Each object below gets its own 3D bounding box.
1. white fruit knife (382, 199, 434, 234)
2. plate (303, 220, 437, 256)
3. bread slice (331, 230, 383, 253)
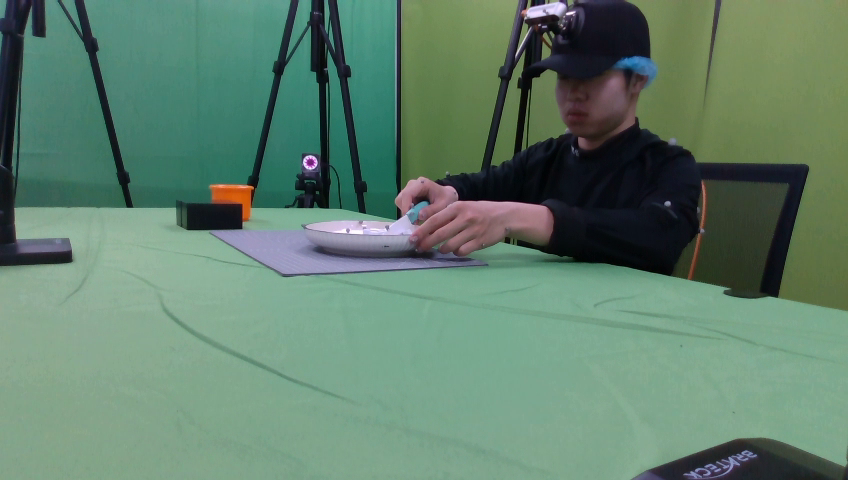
[{"bbox_3d":[-0.024,-0.034,0.961,0.016,0.027,0.208,-6,14,22],"label":"white fruit knife"},{"bbox_3d":[-0.084,-0.003,0.951,0.209,0.038,0.209,2,7,0],"label":"plate"},{"bbox_3d":[-0.088,0.000,0.947,0.105,0.019,0.131,-4,11,-44],"label":"bread slice"}]
